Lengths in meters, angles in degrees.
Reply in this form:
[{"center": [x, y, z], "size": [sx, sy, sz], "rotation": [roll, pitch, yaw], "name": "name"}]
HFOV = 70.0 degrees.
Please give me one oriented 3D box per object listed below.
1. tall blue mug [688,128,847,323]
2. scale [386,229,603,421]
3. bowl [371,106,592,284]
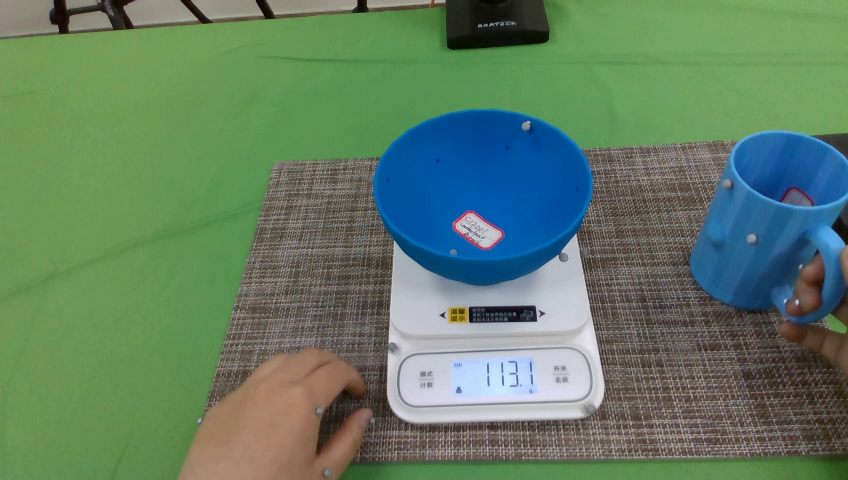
[{"center": [0.252, -0.005, 0.425], "size": [0.078, 0.109, 0.106], "rotation": [-34, 54, -22], "name": "tall blue mug"}, {"center": [0.048, 0.037, 0.462], "size": [0.148, 0.032, 0.199], "rotation": [-3, 50, 4], "name": "scale"}, {"center": [0.041, -0.020, 0.441], "size": [0.151, 0.077, 0.150], "rotation": [-2, 50, 3], "name": "bowl"}]
